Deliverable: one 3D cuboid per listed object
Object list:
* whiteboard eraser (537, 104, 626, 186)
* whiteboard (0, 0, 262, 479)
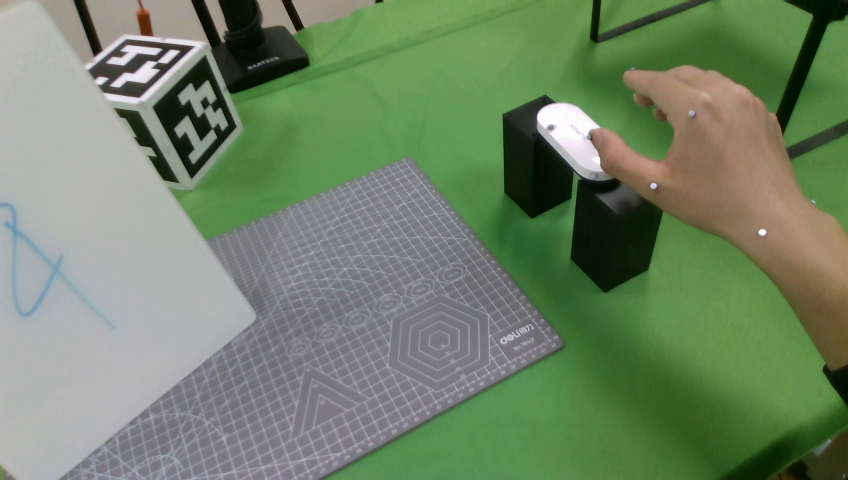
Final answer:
[{"bbox_3d":[0.133,-0.084,0.519,0.041,0.019,0.100,-21,50,-12],"label":"whiteboard eraser"},{"bbox_3d":[-0.318,0.007,0.484,0.217,0.308,0.142,-41,35,-25],"label":"whiteboard"}]
